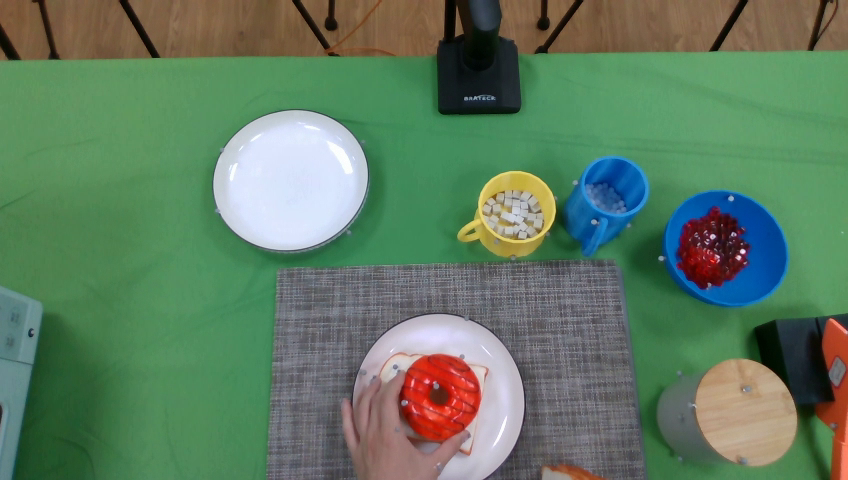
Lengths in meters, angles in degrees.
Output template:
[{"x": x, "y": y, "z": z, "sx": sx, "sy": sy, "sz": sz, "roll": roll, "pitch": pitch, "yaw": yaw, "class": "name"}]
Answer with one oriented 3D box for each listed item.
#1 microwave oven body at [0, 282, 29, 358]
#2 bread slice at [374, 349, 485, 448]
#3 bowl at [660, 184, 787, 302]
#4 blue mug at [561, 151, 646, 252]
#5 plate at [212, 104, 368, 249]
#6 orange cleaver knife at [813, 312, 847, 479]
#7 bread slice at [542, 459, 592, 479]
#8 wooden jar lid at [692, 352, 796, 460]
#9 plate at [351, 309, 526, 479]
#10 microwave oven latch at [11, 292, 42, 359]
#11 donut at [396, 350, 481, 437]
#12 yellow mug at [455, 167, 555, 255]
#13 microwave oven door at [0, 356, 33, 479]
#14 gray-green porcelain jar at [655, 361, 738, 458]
[{"x": -0.637, "y": 0.243, "z": 0.591, "sx": 0.326, "sy": 0.261, "sz": 0.439, "roll": -1, "pitch": 73, "yaw": -1, "class": "microwave oven body"}, {"x": 0.004, "y": 0.188, "z": 0.737, "sx": 0.131, "sy": 0.019, "sz": 0.104, "roll": 12, "pitch": 71, "yaw": -2, "class": "bread slice"}, {"x": 0.367, "y": 0.013, "z": 0.774, "sx": 0.151, "sy": 0.077, "sz": 0.150, "roll": 0, "pitch": 72, "yaw": 0, "class": "bowl"}, {"x": 0.223, "y": -0.040, "z": 0.776, "sx": 0.082, "sy": 0.106, "sz": 0.116, "roll": 18, "pitch": 73, "yaw": 6, "class": "blue mug"}, {"x": -0.179, "y": -0.084, "z": 0.821, "sx": 0.208, "sy": 0.039, "sz": 0.206, "roll": 0, "pitch": 72, "yaw": 0, "class": "plate"}, {"x": 0.485, "y": 0.192, "z": 0.715, "sx": 0.012, "sy": 0.077, "sz": 0.212, "roll": -4, "pitch": 102, "yaw": -1, "class": "orange cleaver knife"}, {"x": 0.153, "y": 0.294, "z": 0.653, "sx": 0.018, "sy": 0.135, "sz": 0.106, "roll": 7, "pitch": 70, "yaw": -6, "class": "bread slice"}, {"x": 0.330, "y": 0.172, "z": 0.631, "sx": 0.108, "sy": 0.021, "sz": 0.108, "roll": 1, "pitch": 73, "yaw": -2, "class": "wooden jar lid"}, {"x": 0.018, "y": 0.189, "z": 0.732, "sx": 0.209, "sy": 0.038, "sz": 0.208, "roll": 0, "pitch": 72, "yaw": 0, "class": "plate"}, {"x": -0.491, "y": 0.104, "z": 0.738, "sx": 0.030, "sy": 0.029, "sz": 0.078, "roll": 2, "pitch": 73, "yaw": 0, "class": "microwave oven latch"}, {"x": 0.017, "y": 0.177, "z": 0.704, "sx": 0.099, "sy": 0.048, "sz": 0.098, "roll": 1, "pitch": 75, "yaw": -5, "class": "donut"}, {"x": 0.102, "y": -0.032, "z": 0.792, "sx": 0.131, "sy": 0.064, "sz": 0.099, "roll": -23, "pitch": 73, "yaw": -6, "class": "yellow mug"}, {"x": -0.490, "y": 0.280, "z": 0.575, "sx": 0.039, "sy": 0.245, "sz": 0.353, "roll": -1, "pitch": 72, "yaw": 0, "class": "microwave oven door"}, {"x": 0.331, "y": 0.193, "z": 0.691, "sx": 0.106, "sy": 0.127, "sz": 0.105, "roll": 0, "pitch": 72, "yaw": 0, "class": "gray-green porcelain jar"}]
